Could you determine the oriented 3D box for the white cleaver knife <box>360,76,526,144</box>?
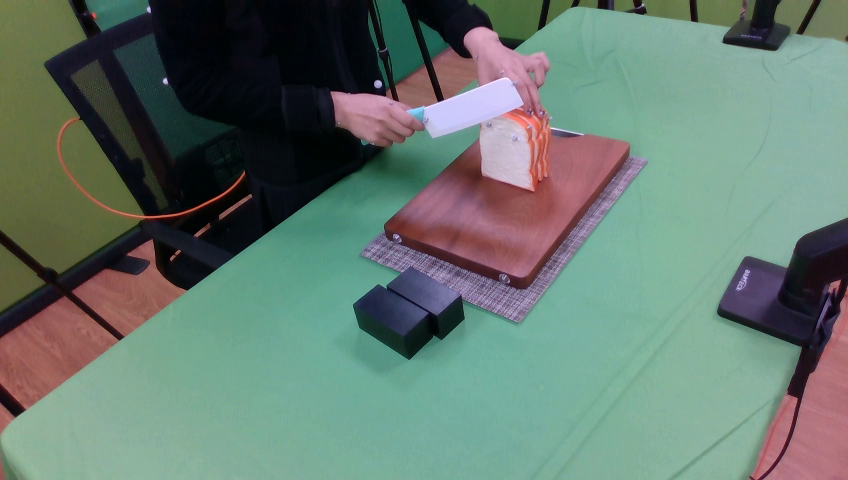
[{"bbox_3d":[0.021,-0.193,0.963,0.285,0.066,0.021,-12,38,27],"label":"white cleaver knife"}]

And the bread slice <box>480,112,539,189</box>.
[{"bbox_3d":[0.139,-0.153,1.007,0.106,0.135,0.018,17,48,33],"label":"bread slice"}]

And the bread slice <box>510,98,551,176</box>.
[{"bbox_3d":[0.172,-0.179,1.034,0.104,0.132,0.019,21,45,30],"label":"bread slice"}]
